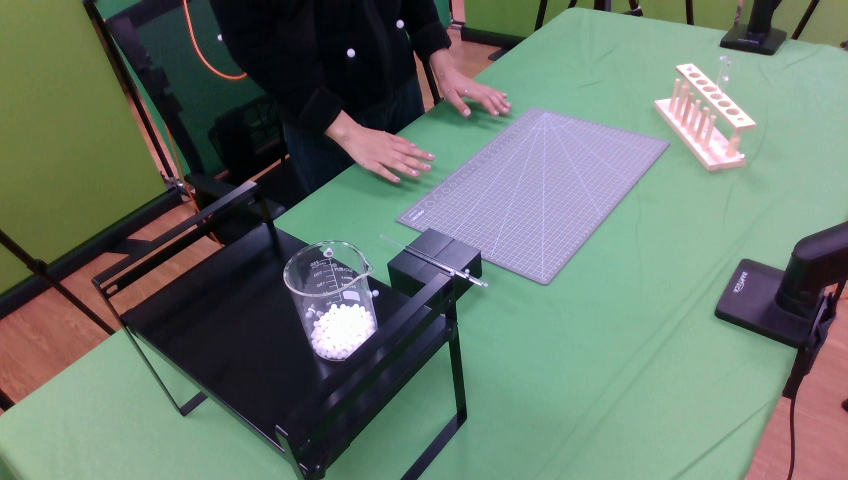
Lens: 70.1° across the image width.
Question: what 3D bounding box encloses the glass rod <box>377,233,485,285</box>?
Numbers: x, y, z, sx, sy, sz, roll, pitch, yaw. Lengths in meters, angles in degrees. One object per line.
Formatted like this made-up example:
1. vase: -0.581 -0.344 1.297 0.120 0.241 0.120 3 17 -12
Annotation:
1. glass rod: 0.005 0.025 0.877 0.198 0.008 0.008 24 50 31

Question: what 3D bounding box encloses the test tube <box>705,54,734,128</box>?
1. test tube: 0.523 -0.260 1.073 0.017 0.151 0.017 -4 46 4

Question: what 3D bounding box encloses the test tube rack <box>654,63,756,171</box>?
1. test tube rack: 0.510 -0.233 1.120 0.067 0.085 0.241 -8 41 -1

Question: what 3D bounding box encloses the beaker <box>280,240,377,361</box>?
1. beaker: -0.084 0.061 0.580 0.084 0.101 0.073 -3 41 5
